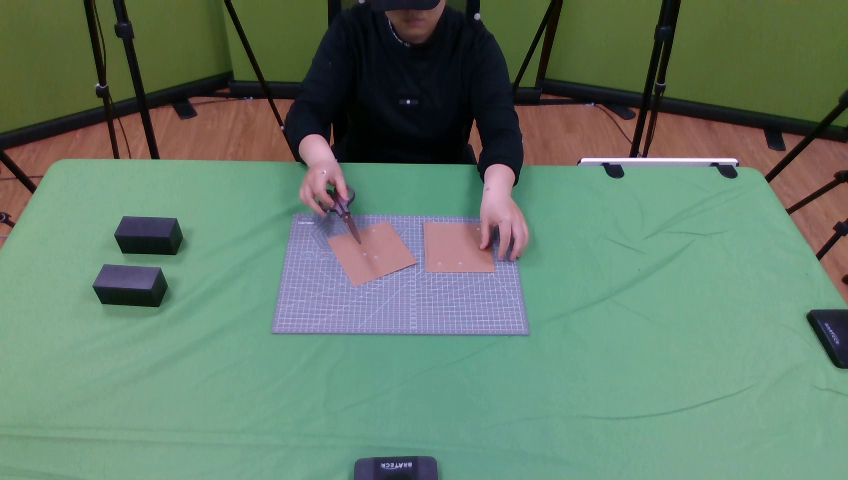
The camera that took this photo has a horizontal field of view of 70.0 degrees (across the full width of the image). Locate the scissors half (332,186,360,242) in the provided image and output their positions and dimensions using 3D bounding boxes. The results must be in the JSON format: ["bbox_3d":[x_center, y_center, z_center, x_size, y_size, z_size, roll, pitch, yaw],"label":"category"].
[{"bbox_3d":[-0.145,-0.052,1.165,0.040,0.013,0.174,-24,45,0],"label":"scissors half"}]

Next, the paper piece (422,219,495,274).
[{"bbox_3d":[0.066,0.013,1.196,0.138,0.009,0.135,3,51,-5],"label":"paper piece"}]

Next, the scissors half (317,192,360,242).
[{"bbox_3d":[-0.162,-0.043,1.161,0.040,0.013,0.174,-31,46,-15],"label":"scissors half"}]

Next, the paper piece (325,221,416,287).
[{"bbox_3d":[-0.105,0.022,1.174,0.135,0.004,0.135,-18,50,-21],"label":"paper piece"}]
